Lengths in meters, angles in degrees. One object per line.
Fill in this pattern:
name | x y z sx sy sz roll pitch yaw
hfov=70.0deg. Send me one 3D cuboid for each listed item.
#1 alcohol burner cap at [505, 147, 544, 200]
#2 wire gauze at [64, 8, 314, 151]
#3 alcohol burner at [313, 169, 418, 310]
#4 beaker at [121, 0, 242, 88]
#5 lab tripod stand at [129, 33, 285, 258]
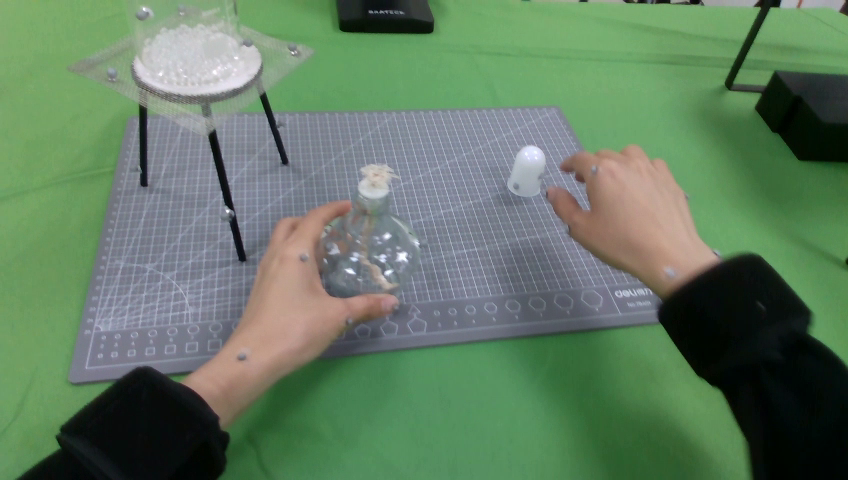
alcohol burner cap | 0.095 -0.064 0.566 0.034 0.048 0.033 3 46 -3
wire gauze | -0.162 -0.124 0.430 0.124 0.011 0.121 28 51 12
alcohol burner | -0.041 -0.004 0.438 0.078 0.120 0.077 6 45 -5
beaker | -0.161 -0.158 0.394 0.073 0.101 0.083 26 49 16
lab tripod stand | -0.166 -0.079 0.477 0.148 0.132 0.147 6 46 -5
